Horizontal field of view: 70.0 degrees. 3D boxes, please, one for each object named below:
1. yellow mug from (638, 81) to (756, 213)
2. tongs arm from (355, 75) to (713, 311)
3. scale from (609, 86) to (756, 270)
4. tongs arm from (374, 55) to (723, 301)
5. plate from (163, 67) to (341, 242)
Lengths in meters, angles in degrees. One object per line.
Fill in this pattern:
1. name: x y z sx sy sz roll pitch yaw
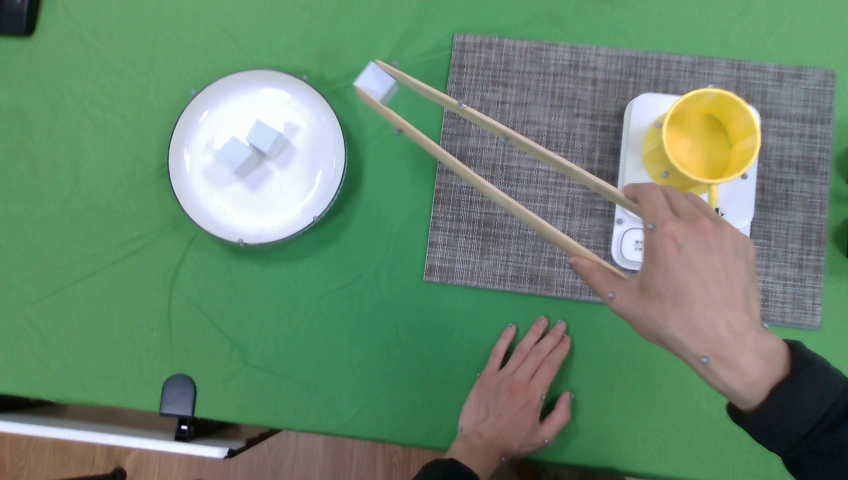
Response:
1. yellow mug: 0.288 -0.094 0.643 0.100 0.064 0.130 -4 85 2
2. tongs arm: 0.065 -0.055 0.521 0.028 0.028 0.384 -45 61 -10
3. scale: 0.293 -0.070 0.688 0.148 0.031 0.200 6 85 4
4. tongs arm: 0.080 -0.071 0.523 0.381 0.027 0.050 34 80 28
5. plate: -0.199 -0.098 0.715 0.207 0.039 0.207 0 84 2
